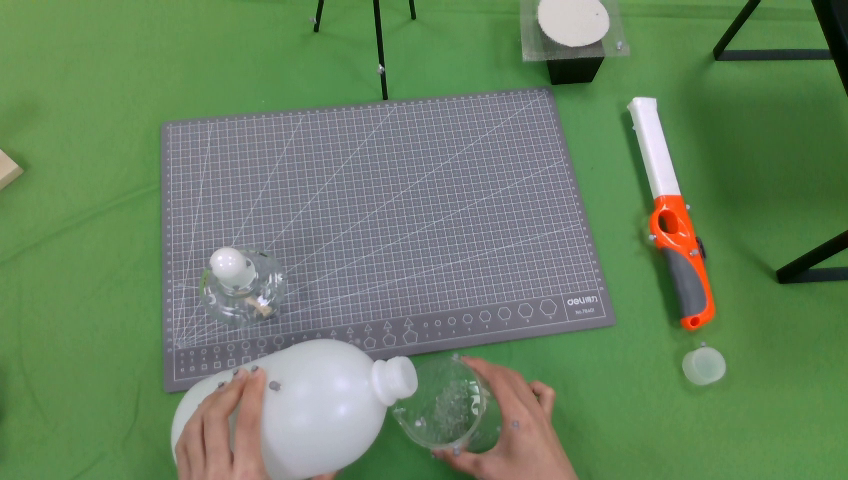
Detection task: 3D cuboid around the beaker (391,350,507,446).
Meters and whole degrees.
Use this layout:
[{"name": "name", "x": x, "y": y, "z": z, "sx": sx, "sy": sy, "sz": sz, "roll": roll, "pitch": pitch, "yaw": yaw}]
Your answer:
[{"name": "beaker", "x": 0.027, "y": 0.144, "z": 0.534, "sx": 0.084, "sy": 0.101, "sz": 0.073, "roll": -15, "pitch": 66, "yaw": 17}]

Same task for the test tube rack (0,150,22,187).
[{"name": "test tube rack", "x": -0.525, "y": -0.026, "z": 0.570, "sx": 0.066, "sy": 0.085, "sz": 0.242, "roll": 39, "pitch": 71, "yaw": 11}]

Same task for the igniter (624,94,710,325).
[{"name": "igniter", "x": 0.267, "y": -0.041, "z": 0.671, "sx": 0.057, "sy": 0.025, "sz": 0.274, "roll": 0, "pitch": 68, "yaw": -16}]

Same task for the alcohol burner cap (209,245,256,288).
[{"name": "alcohol burner cap", "x": -0.168, "y": 0.021, "z": 0.523, "sx": 0.034, "sy": 0.048, "sz": 0.033, "roll": 1, "pitch": 74, "yaw": -2}]

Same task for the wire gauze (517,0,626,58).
[{"name": "wire gauze", "x": 0.167, "y": -0.264, "z": 0.708, "sx": 0.121, "sy": 0.011, "sz": 0.124, "roll": 0, "pitch": 68, "yaw": -4}]

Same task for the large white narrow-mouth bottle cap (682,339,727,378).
[{"name": "large white narrow-mouth bottle cap", "x": 0.283, "y": 0.120, "z": 0.614, "sx": 0.038, "sy": 0.024, "sz": 0.037, "roll": 2, "pitch": 68, "yaw": -3}]

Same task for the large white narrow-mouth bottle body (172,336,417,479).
[{"name": "large white narrow-mouth bottle body", "x": -0.095, "y": 0.132, "z": 0.480, "sx": 0.194, "sy": 0.102, "sz": 0.101, "roll": -23, "pitch": 69, "yaw": 19}]

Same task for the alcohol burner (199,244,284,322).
[{"name": "alcohol burner", "x": -0.171, "y": 0.034, "z": 0.557, "sx": 0.078, "sy": 0.120, "sz": 0.077, "roll": 2, "pitch": 67, "yaw": -5}]

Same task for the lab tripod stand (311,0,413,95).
[{"name": "lab tripod stand", "x": -0.061, "y": -0.259, "z": 0.673, "sx": 0.148, "sy": 0.132, "sz": 0.147, "roll": 2, "pitch": 69, "yaw": -5}]
